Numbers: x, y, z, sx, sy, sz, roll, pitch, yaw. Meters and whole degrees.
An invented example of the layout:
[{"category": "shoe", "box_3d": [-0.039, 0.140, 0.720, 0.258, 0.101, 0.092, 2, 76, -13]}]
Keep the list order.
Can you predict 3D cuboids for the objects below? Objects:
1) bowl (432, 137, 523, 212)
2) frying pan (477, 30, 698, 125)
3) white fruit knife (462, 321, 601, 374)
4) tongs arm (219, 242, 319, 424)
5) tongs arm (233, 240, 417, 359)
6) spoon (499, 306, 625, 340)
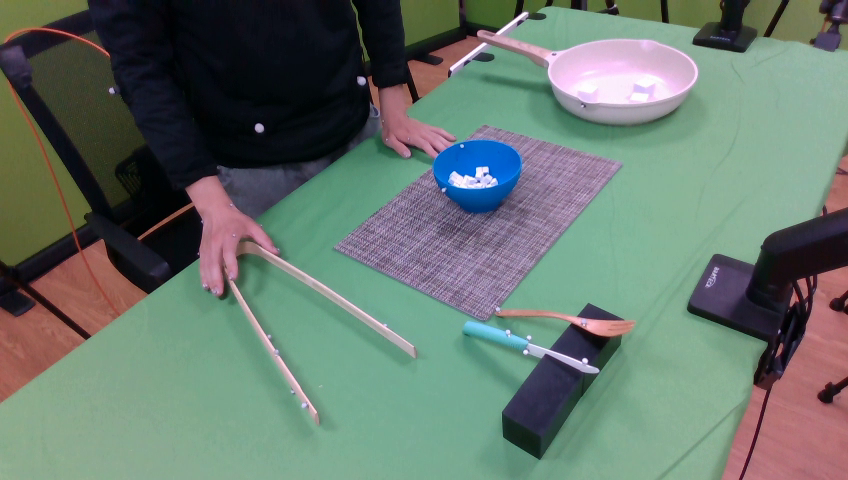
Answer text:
[{"category": "bowl", "box_3d": [0.091, -0.100, 1.022, 0.151, 0.077, 0.150, -4, 41, 4]}, {"category": "frying pan", "box_3d": [0.321, -0.371, 1.290, 0.484, 0.103, 0.308, 29, 51, 24]}, {"category": "white fruit knife", "box_3d": [0.126, 0.132, 0.752, 0.205, 0.027, 0.016, 12, 48, 42]}, {"category": "tongs arm", "box_3d": [-0.220, 0.114, 0.856, 0.051, 0.026, 0.381, -28, 44, -24]}, {"category": "tongs arm", "box_3d": [-0.157, 0.078, 0.895, 0.384, 0.028, 0.028, 26, 53, 33]}, {"category": "spoon", "box_3d": [0.169, 0.102, 0.773, 0.042, 0.021, 0.192, -10, 14, -38]}]
